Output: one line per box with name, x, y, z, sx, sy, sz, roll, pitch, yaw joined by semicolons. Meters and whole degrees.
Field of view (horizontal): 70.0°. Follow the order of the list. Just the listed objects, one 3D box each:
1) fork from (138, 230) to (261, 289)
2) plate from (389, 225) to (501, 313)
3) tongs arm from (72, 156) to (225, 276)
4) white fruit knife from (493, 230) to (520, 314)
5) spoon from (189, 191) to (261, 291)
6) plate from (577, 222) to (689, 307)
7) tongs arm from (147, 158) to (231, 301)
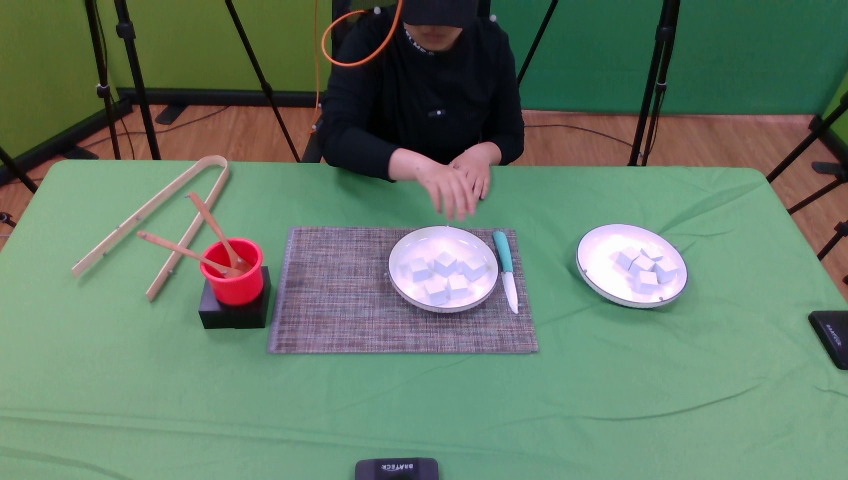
fork;-0.360;0.032;0.981;0.208;0.018;0.028;31;60;-30
plate;0.038;0.057;1.128;0.208;0.039;0.206;2;46;-2
tongs arm;-0.531;-0.057;1.205;0.050;0.026;0.383;19;47;12
white fruit knife;0.160;0.057;1.154;0.027;0.016;0.206;-21;46;16
spoon;-0.333;0.001;1.012;0.041;0.194;0.021;-34;15;-25
plate;0.396;0.050;1.165;0.209;0.038;0.208;2;47;-2
tongs arm;-0.454;-0.034;1.194;0.028;0.028;0.385;7;46;6
